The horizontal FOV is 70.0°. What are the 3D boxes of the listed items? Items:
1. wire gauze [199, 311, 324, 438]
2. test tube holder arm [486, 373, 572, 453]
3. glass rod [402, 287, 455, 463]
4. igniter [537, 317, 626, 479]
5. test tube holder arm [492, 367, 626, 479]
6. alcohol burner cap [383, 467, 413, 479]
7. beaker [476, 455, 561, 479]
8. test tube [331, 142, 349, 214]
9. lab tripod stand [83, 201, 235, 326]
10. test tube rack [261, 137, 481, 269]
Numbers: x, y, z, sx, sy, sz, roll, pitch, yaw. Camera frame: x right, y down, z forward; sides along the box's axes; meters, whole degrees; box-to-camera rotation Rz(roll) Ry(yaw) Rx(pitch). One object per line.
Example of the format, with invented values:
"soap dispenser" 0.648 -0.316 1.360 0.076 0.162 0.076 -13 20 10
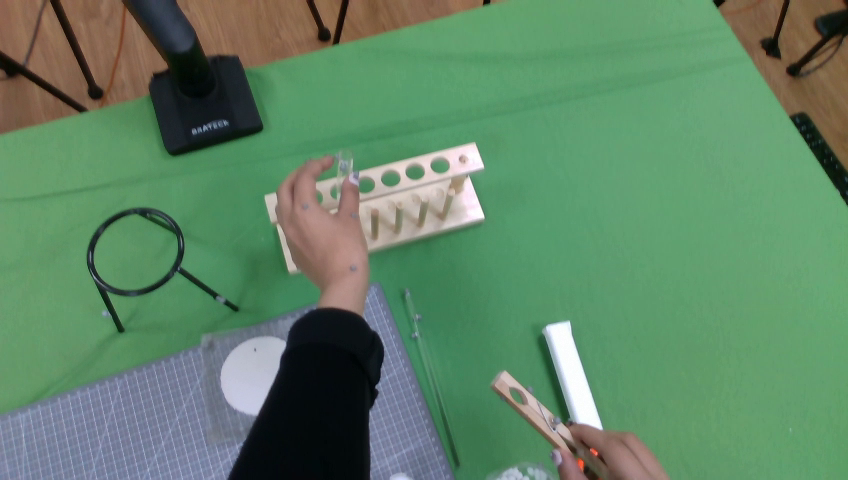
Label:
"wire gauze" -0.179 0.145 0.660 0.125 0.011 0.120 -8 72 -8
"test tube holder arm" 0.087 0.141 0.492 0.088 0.015 0.010 41 73 -1
"glass rod" 0.004 0.147 0.674 0.008 0.008 0.198 -14 74 -9
"igniter" 0.177 0.218 0.651 0.057 0.025 0.274 -8 71 -18
"test tube holder arm" 0.124 0.167 0.495 0.178 0.015 0.013 41 73 -1
"alcohol burner cap" -0.026 0.247 0.615 0.034 0.048 0.033 1 70 -3
"beaker" 0.086 0.251 0.595 0.084 0.101 0.073 11 69 1
"test tube" -0.091 -0.062 0.650 0.017 0.151 0.017 3 69 -9
"lab tripod stand" -0.281 0.030 0.630 0.148 0.132 0.147 1 71 -4
"test tube rack" -0.053 -0.042 0.698 0.243 0.085 0.066 -16 71 -9
